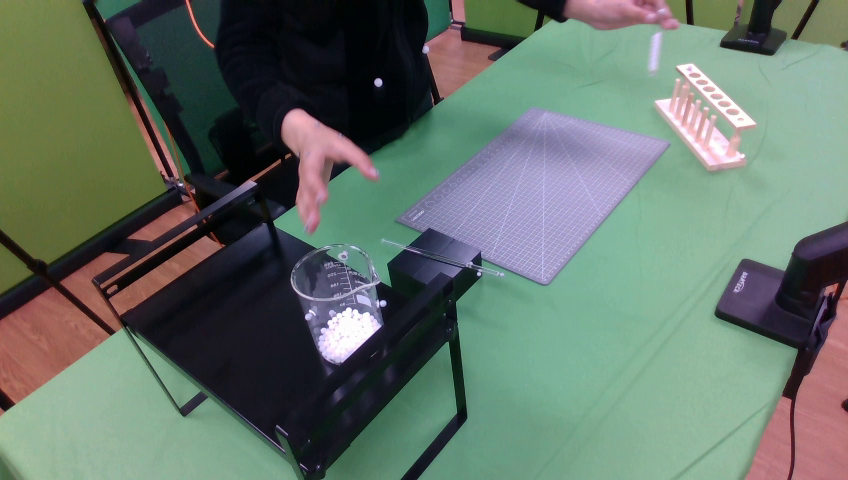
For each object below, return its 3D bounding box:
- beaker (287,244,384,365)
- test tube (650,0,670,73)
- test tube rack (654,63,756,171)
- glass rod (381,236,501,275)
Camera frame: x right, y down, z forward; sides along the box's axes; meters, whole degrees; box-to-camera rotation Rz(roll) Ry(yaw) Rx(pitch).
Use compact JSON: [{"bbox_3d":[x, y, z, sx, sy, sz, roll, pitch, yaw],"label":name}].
[{"bbox_3d":[-0.076,0.064,0.575,0.083,0.101,0.074,6,43,15],"label":"beaker"},{"bbox_3d":[0.398,-0.353,1.017,0.017,0.151,0.017,-5,41,5],"label":"test tube"},{"bbox_3d":[0.510,-0.234,1.120,0.067,0.085,0.241,-8,41,-1],"label":"test tube rack"},{"bbox_3d":[0.020,0.022,0.881,0.198,0.008,0.008,16,46,25],"label":"glass rod"}]
